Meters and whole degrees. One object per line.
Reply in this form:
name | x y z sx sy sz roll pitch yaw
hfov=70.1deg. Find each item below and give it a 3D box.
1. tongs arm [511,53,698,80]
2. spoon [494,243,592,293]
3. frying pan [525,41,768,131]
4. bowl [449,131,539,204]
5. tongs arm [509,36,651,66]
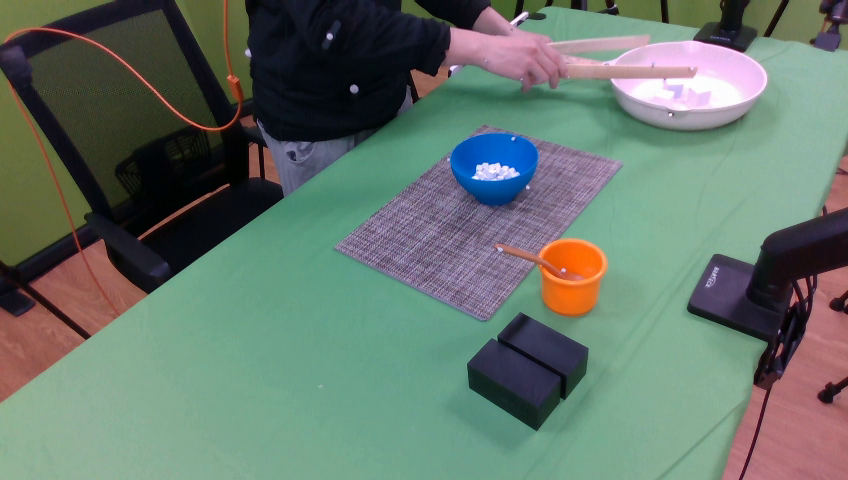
tongs arm | 0.331 -0.307 1.073 0.387 0.026 0.050 -8 47 -25
spoon | 0.161 0.035 0.808 0.021 0.195 0.041 -48 40 20
frying pan | 0.424 -0.338 1.236 0.486 0.103 0.307 18 45 15
bowl | 0.121 -0.114 1.034 0.151 0.077 0.150 -4 41 4
tongs arm | 0.298 -0.354 1.118 0.390 0.028 0.028 -16 54 -33
